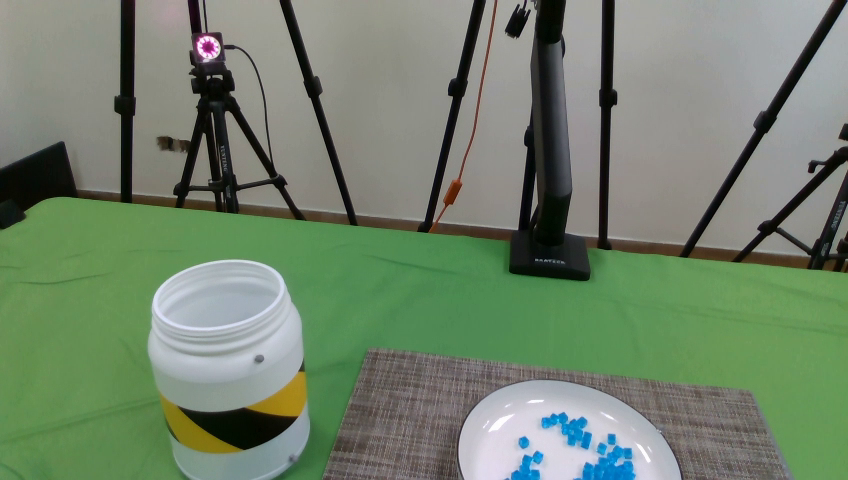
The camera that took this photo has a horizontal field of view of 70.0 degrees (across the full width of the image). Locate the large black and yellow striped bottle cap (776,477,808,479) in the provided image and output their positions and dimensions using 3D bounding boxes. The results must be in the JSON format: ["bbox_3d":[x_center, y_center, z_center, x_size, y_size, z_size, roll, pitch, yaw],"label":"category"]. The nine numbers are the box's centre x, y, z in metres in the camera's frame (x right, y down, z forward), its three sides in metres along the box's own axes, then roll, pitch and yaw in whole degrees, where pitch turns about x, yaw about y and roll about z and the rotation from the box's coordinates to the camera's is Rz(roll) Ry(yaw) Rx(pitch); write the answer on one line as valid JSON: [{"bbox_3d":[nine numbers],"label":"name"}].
[{"bbox_3d":[0.348,0.260,0.528,0.115,0.019,0.114,5,32,-3],"label":"large black and yellow striped bottle cap"}]

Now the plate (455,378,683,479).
[{"bbox_3d":[0.132,0.214,0.570,0.208,0.039,0.206,2,30,-1],"label":"plate"}]

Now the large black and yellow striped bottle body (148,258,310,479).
[{"bbox_3d":[-0.179,0.122,0.568,0.131,0.185,0.129,2,30,-1],"label":"large black and yellow striped bottle body"}]
